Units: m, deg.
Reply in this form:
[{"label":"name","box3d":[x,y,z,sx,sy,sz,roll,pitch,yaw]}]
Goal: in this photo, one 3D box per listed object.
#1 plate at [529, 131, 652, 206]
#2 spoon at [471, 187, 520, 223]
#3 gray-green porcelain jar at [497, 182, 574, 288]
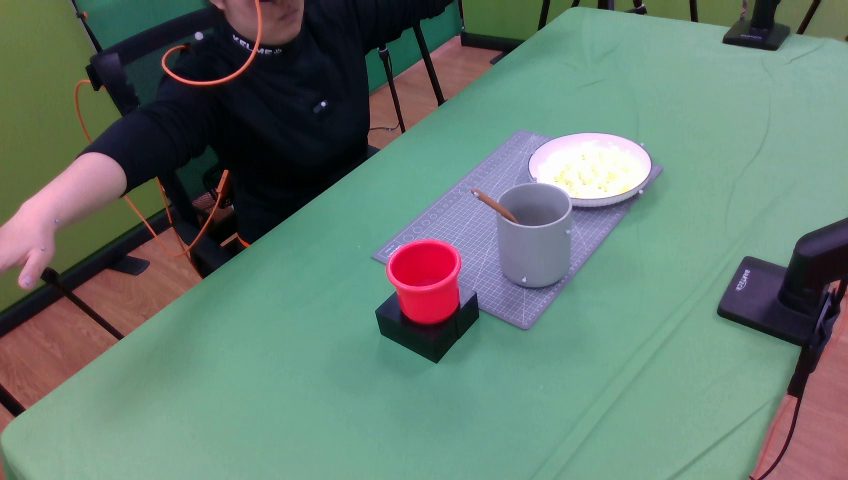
[{"label":"plate","box3d":[0.287,-0.122,1.055,0.207,0.039,0.206,-5,40,5]},{"label":"spoon","box3d":[0.122,-0.026,0.837,0.021,0.195,0.041,-32,47,19]},{"label":"gray-green porcelain jar","box3d":[0.160,-0.003,0.869,0.106,0.127,0.105,-5,40,5]}]
